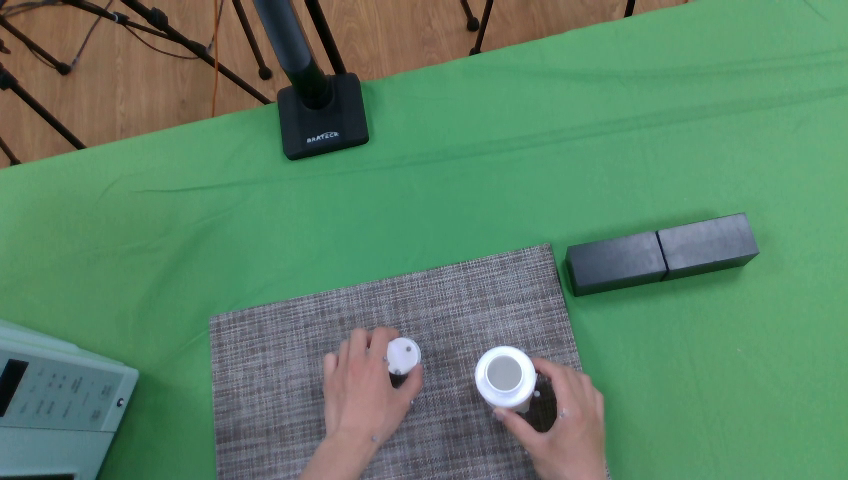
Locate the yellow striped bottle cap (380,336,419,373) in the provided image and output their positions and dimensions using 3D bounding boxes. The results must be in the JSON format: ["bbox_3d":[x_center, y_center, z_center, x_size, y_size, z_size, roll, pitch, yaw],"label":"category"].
[{"bbox_3d":[-0.029,0.135,0.717,0.044,0.019,0.044,-2,82,13],"label":"yellow striped bottle cap"}]

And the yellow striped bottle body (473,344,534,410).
[{"bbox_3d":[0.086,0.149,0.656,0.063,0.121,0.062,-3,71,8],"label":"yellow striped bottle body"}]

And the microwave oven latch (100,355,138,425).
[{"bbox_3d":[-0.382,0.184,0.742,0.030,0.030,0.079,17,76,13],"label":"microwave oven latch"}]

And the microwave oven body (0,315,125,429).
[{"bbox_3d":[-0.588,0.280,0.638,0.325,0.262,0.440,15,75,12],"label":"microwave oven body"}]

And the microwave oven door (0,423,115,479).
[{"bbox_3d":[-0.464,0.352,0.590,0.039,0.245,0.354,14,74,13],"label":"microwave oven door"}]
